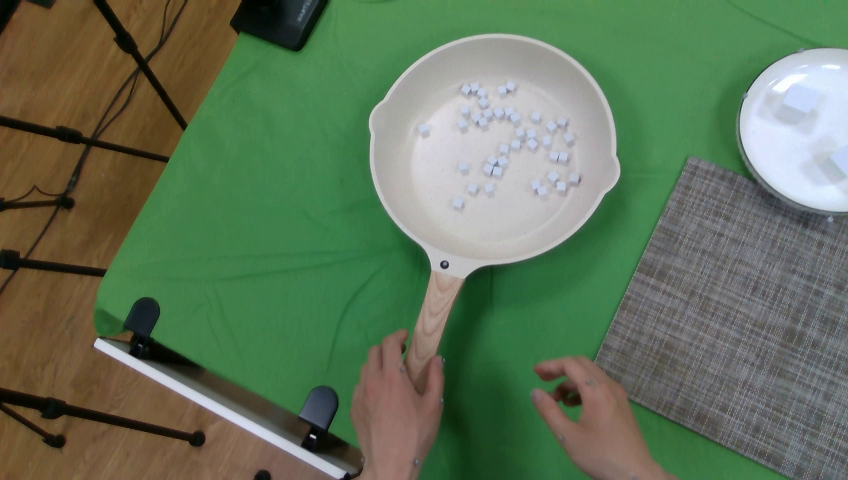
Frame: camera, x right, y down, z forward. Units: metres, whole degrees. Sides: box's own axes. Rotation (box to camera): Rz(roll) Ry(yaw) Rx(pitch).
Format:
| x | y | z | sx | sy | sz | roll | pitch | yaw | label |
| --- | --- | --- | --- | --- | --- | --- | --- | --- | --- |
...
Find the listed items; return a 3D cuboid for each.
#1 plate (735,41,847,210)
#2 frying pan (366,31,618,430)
| x | y | z | sx | sy | sz | roll | pitch | yaw | label |
| --- | --- | --- | --- | --- | --- | --- | --- | --- | --- |
| 0.472 | -0.132 | 0.711 | 0.207 | 0.039 | 0.206 | -2 | 77 | 8 | plate |
| 0.044 | -0.018 | 0.713 | 0.306 | 0.103 | 0.485 | 17 | 72 | 13 | frying pan |
